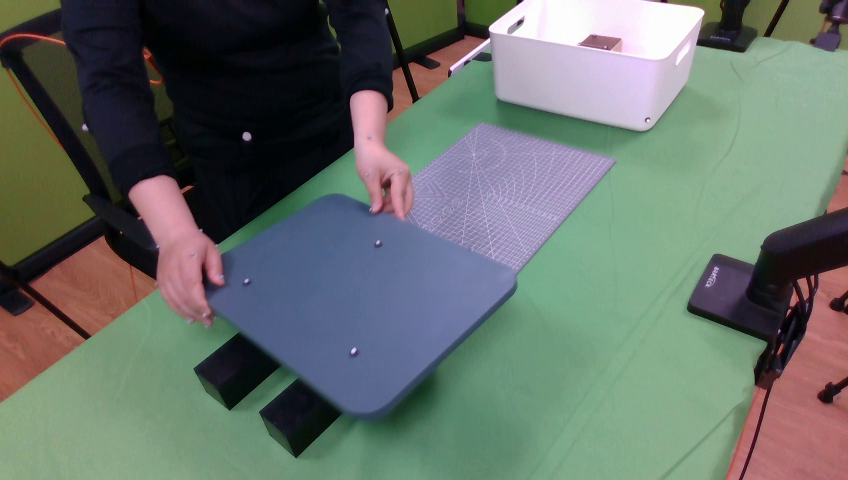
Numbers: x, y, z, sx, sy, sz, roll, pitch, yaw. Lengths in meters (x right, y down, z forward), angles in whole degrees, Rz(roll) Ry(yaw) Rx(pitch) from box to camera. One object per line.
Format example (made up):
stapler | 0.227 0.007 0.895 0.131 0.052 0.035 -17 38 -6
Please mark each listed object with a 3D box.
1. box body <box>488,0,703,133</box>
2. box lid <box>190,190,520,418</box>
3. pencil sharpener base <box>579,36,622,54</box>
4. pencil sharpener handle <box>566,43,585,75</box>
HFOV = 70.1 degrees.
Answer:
box body | 0.346 -0.374 1.251 0.361 0.161 0.255 20 48 29
box lid | -0.094 0.050 0.744 0.368 0.015 0.264 24 49 37
pencil sharpener base | 0.364 -0.363 1.267 0.076 0.107 0.061 20 48 30
pencil sharpener handle | 0.319 -0.386 1.283 0.030 0.068 0.036 20 40 30
